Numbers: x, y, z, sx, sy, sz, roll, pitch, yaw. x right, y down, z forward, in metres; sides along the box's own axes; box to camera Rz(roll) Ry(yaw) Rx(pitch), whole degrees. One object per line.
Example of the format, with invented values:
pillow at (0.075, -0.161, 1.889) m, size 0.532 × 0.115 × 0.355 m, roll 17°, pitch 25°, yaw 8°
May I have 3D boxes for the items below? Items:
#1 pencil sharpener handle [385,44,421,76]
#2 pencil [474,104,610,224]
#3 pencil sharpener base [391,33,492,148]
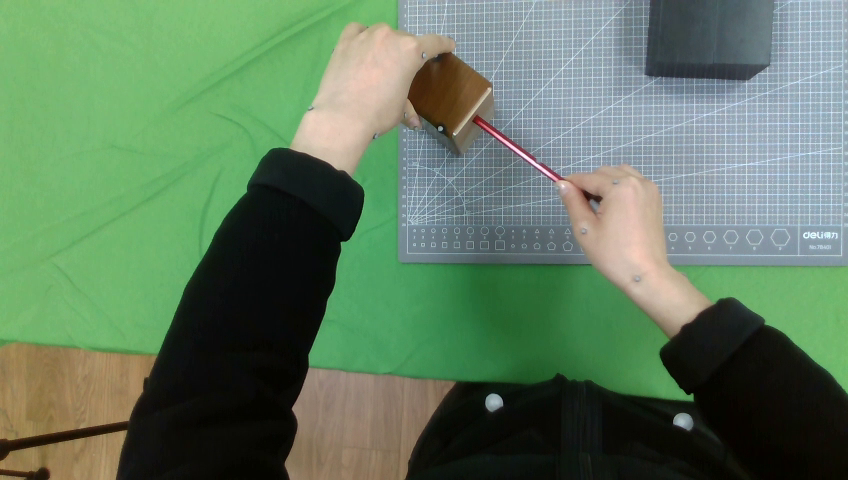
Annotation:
pencil sharpener handle at (-0.024, -0.170, 0.573) m, size 0.030 × 0.068 × 0.036 m, roll 40°, pitch 82°, yaw 6°
pencil at (0.090, -0.082, 0.544) m, size 0.193 × 0.012 × 0.012 m, roll 44°, pitch 95°, yaw 11°
pencil sharpener base at (0.018, -0.140, 0.582) m, size 0.076 × 0.107 × 0.061 m, roll 40°, pitch 94°, yaw 5°
